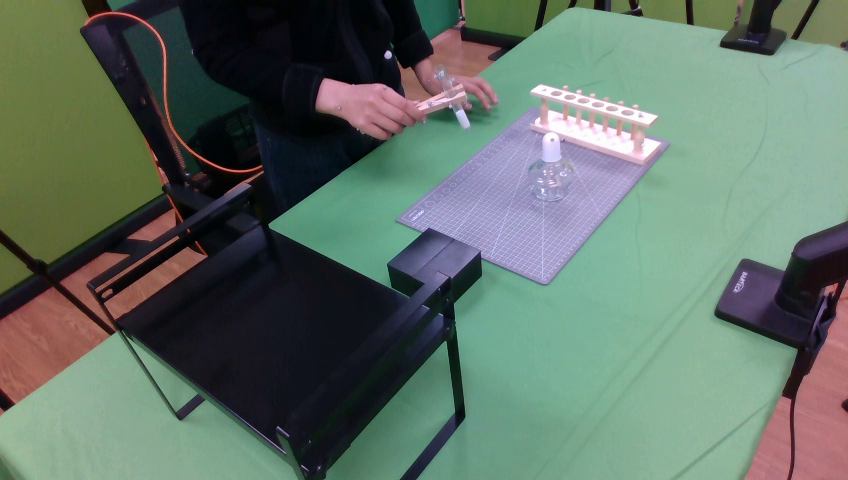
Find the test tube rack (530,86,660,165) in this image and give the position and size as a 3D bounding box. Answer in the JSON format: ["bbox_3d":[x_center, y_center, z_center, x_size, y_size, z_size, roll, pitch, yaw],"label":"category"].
[{"bbox_3d":[0.320,-0.226,1.140,0.240,0.085,0.067,27,51,34],"label":"test tube rack"}]

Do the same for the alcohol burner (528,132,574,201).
[{"bbox_3d":[0.214,-0.126,1.016,0.078,0.119,0.077,-5,38,5],"label":"alcohol burner"}]

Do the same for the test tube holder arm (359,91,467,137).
[{"bbox_3d":[-0.018,-0.196,0.943,0.178,0.015,0.013,-18,55,12],"label":"test tube holder arm"}]

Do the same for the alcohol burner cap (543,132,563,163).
[{"bbox_3d":[0.211,-0.154,0.994,0.034,0.048,0.033,-7,35,6],"label":"alcohol burner cap"}]

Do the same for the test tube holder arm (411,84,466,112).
[{"bbox_3d":[0.022,-0.216,0.938,0.088,0.015,0.010,-24,55,8],"label":"test tube holder arm"}]

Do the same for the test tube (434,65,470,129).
[{"bbox_3d":[0.046,-0.218,0.937,0.017,0.151,0.017,-8,63,17],"label":"test tube"}]
